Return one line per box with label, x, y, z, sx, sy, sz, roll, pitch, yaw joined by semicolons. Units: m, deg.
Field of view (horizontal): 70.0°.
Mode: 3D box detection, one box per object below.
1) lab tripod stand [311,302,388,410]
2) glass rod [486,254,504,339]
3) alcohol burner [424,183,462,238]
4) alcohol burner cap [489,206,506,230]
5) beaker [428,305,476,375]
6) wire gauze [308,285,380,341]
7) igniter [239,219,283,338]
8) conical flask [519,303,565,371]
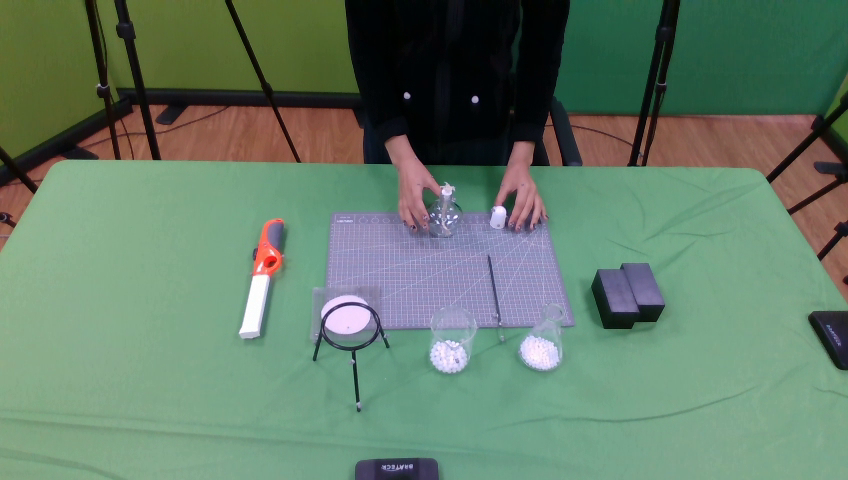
lab tripod stand;-0.113;0.168;0.951;0.148;0.132;0.147;2;44;-2
glass rod;0.130;0.099;1.119;0.008;0.008;0.198;-1;46;-4
alcohol burner;0.039;-0.063;1.197;0.078;0.119;0.077;2;44;-2
alcohol burner cap;0.152;-0.047;1.241;0.034;0.048;0.033;2;46;-1
beaker;0.044;0.169;0.987;0.074;0.101;0.083;1;47;-3
wire gauze;-0.141;0.128;1.071;0.125;0.011;0.120;-1;46;-5
igniter;-0.298;0.061;1.113;0.057;0.025;0.274;-6;46;4
conical flask;0.201;0.155;0.997;0.075;0.122;0.075;2;46;-2
